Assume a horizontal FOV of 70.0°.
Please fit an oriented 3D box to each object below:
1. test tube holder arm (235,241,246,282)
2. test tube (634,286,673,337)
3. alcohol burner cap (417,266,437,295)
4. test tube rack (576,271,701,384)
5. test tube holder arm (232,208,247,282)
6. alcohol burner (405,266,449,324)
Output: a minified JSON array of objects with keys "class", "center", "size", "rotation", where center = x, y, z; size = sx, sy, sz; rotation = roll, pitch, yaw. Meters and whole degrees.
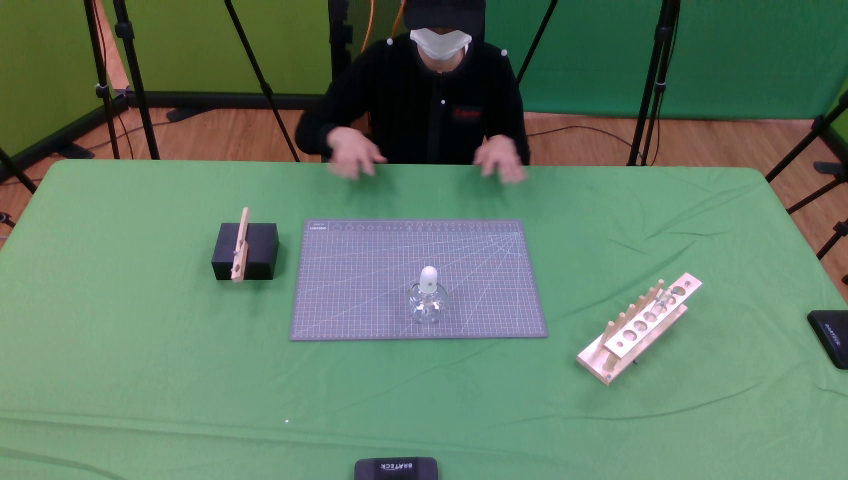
[{"class":"test tube holder arm","center":[-0.323,0.037,1.071],"size":[0.010,0.015,0.087],"rotation":[-9,46,-2]},{"class":"test tube","center":[0.374,0.123,0.993],"size":[0.017,0.151,0.017],"rotation":[2,52,-2]},{"class":"alcohol burner cap","center":[0.006,0.065,1.017],"size":[0.034,0.048,0.033],"rotation":[4,42,-3]},{"class":"test tube rack","center":[0.373,0.138,1.047],"size":[0.242,0.085,0.066],"rotation":[-31,56,-29]},{"class":"test tube holder arm","center":[-0.335,0.006,1.102],"size":[0.013,0.015,0.177],"rotation":[-9,46,-2]},{"class":"alcohol burner","center":[0.005,0.089,1.043],"size":[0.078,0.120,0.077],"rotation":[1,44,-1]}]
